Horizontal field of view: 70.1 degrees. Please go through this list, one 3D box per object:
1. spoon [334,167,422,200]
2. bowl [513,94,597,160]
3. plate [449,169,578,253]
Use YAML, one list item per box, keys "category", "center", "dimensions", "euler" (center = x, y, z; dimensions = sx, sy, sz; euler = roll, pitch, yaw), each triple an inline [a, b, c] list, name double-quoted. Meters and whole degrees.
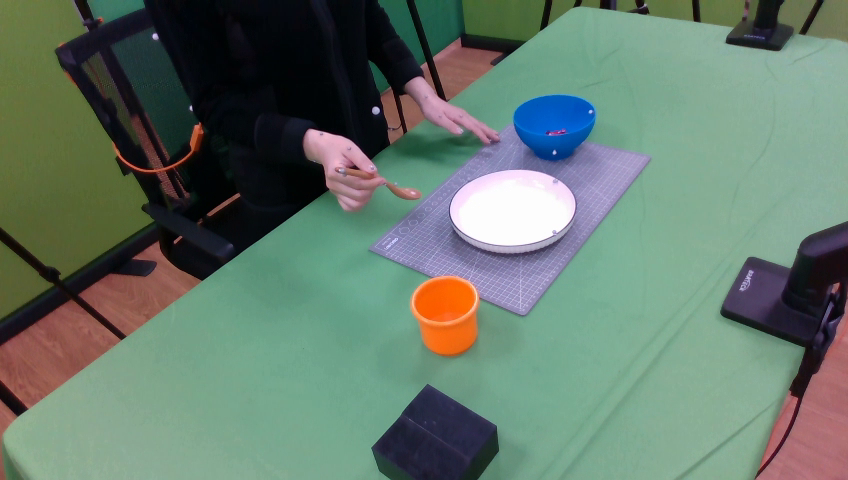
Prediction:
- category: "spoon"
  center: [-0.065, -0.085, 0.884]
  dimensions: [0.041, 0.195, 0.021]
  euler: [31, 98, 33]
- category: "bowl"
  center: [0.244, -0.202, 1.130]
  dimensions: [0.151, 0.077, 0.150]
  euler: [-6, 40, 5]
- category: "plate"
  center: [0.146, -0.044, 0.993]
  dimensions: [0.209, 0.038, 0.208]
  euler: [-5, 40, 5]
